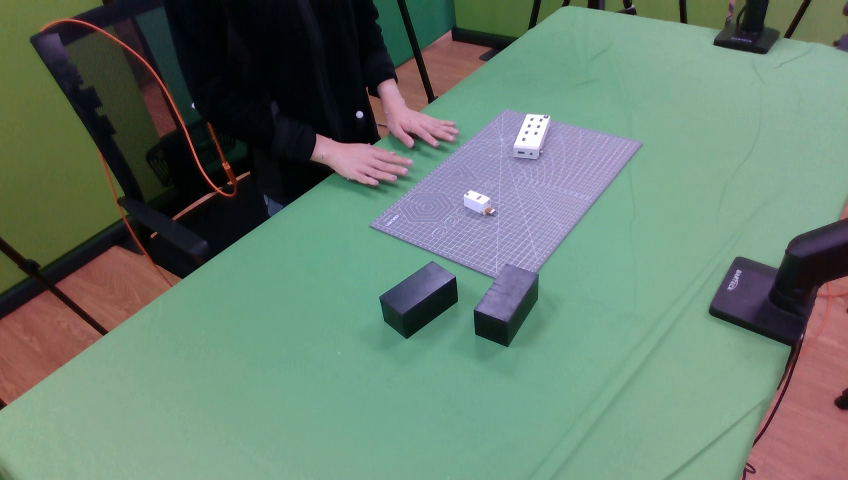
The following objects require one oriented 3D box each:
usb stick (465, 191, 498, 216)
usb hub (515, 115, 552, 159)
[{"bbox_3d":[0.099,-0.061,1.026,0.058,0.027,0.021,30,51,33],"label":"usb stick"},{"bbox_3d":[0.213,-0.201,1.173,0.049,0.025,0.125,9,44,18],"label":"usb hub"}]
